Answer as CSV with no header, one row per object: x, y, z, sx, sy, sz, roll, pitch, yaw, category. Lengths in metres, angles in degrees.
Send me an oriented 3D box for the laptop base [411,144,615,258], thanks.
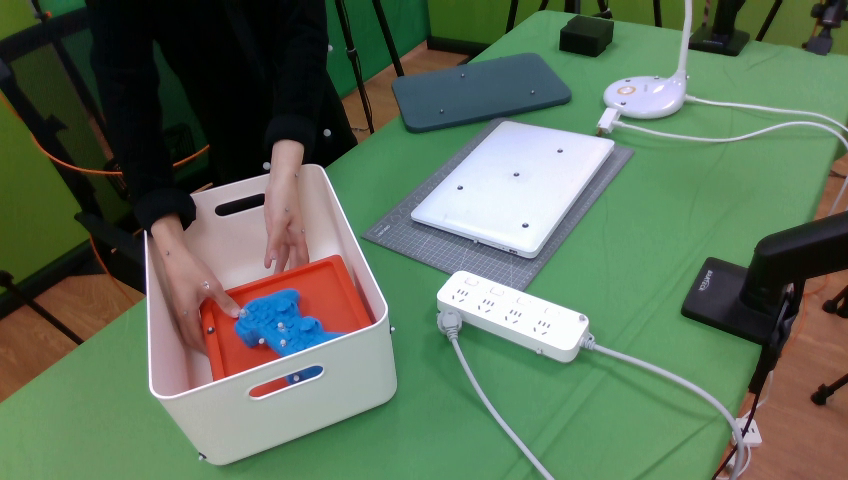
0.167,-0.102,1.074,0.234,0.023,0.355,16,45,30,laptop base

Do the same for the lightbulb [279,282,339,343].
-0.155,0.102,0.830,0.060,0.059,0.107,-34,61,-28,lightbulb

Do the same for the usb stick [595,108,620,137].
0.355,-0.226,1.175,0.027,0.022,0.059,29,85,41,usb stick

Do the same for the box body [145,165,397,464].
-0.205,0.080,0.802,0.255,0.161,0.361,-18,41,-13,box body

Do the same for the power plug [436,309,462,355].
0.032,0.126,0.810,0.035,0.053,0.072,3,59,7,power plug

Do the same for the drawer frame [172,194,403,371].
-0.170,0.080,0.765,0.201,0.214,0.082,-29,18,26,drawer frame

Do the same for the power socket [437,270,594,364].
0.118,0.102,0.830,0.225,0.033,0.072,20,48,28,power socket

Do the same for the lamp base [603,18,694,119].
0.460,-0.355,1.205,0.179,0.181,0.160,2,41,7,lamp base

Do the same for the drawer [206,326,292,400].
-0.177,0.130,0.785,0.195,0.073,0.210,-15,37,-13,drawer

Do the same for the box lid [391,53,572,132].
0.122,-0.339,1.366,0.372,0.015,0.261,-12,40,-5,box lid

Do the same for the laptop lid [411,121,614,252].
0.164,-0.112,1.068,0.240,0.013,0.357,19,46,30,laptop lid

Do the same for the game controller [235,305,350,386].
-0.159,0.111,0.734,0.154,0.052,0.097,29,55,35,game controller
